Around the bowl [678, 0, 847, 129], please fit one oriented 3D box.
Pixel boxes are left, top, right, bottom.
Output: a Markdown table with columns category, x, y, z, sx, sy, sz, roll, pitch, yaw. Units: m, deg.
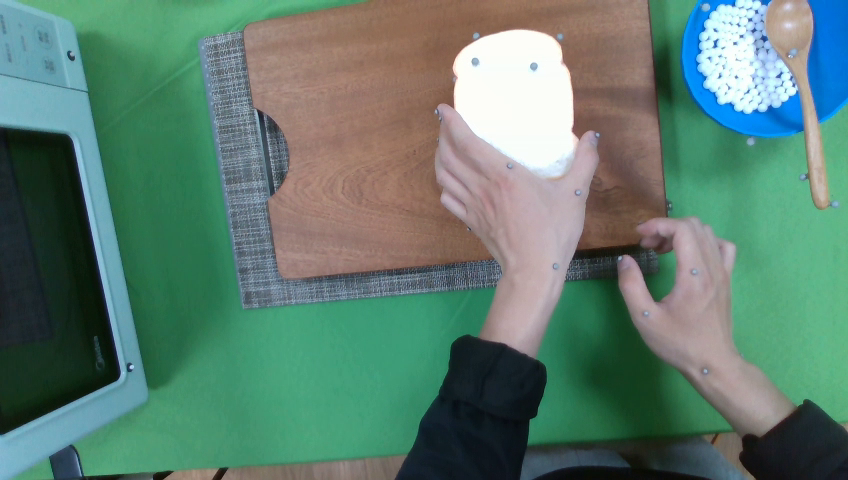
| category | x | y | z | sx | sy | sz | roll | pitch | yaw |
| --- | --- | --- | --- | --- | --- | --- | --- | --- | --- |
| bowl | 0.298 | -0.172 | 0.538 | 0.151 | 0.077 | 0.151 | 1 | 97 | 10 |

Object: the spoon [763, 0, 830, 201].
| category | x | y | z | sx | sy | sz | roll | pitch | yaw |
| --- | --- | --- | --- | --- | --- | --- | --- | --- | --- |
| spoon | 0.318 | -0.127 | 0.508 | 0.041 | 0.022 | 0.192 | -2 | 76 | 2 |

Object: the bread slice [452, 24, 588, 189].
| category | x | y | z | sx | sy | sz | roll | pitch | yaw |
| --- | --- | --- | --- | --- | --- | --- | --- | --- | --- |
| bread slice | 0.075 | -0.116 | 0.523 | 0.107 | 0.018 | 0.134 | -11 | 91 | 11 |

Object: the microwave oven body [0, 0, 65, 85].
| category | x | y | z | sx | sy | sz | roll | pitch | yaw |
| --- | --- | --- | --- | --- | --- | --- | --- | --- | --- |
| microwave oven body | -0.526 | 0.002 | 0.600 | 0.325 | 0.260 | 0.442 | -9 | 96 | 10 |

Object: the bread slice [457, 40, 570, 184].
| category | x | y | z | sx | sy | sz | roll | pitch | yaw |
| --- | --- | --- | --- | --- | --- | --- | --- | --- | --- |
| bread slice | 0.081 | -0.123 | 0.582 | 0.105 | 0.019 | 0.132 | -7 | 97 | 9 |

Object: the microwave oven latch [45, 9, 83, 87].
| category | x | y | z | sx | sy | sz | roll | pitch | yaw |
| --- | --- | --- | --- | --- | --- | --- | --- | --- | --- |
| microwave oven latch | -0.395 | -0.204 | 0.652 | 0.030 | 0.029 | 0.079 | -8 | 96 | 10 |

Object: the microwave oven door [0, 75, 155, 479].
| category | x | y | z | sx | sy | sz | roll | pitch | yaw |
| --- | --- | --- | --- | --- | --- | --- | --- | --- | --- |
| microwave oven door | -0.377 | 0.022 | 0.573 | 0.039 | 0.244 | 0.356 | -9 | 95 | 11 |

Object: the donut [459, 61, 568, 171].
| category | x | y | z | sx | sy | sz | roll | pitch | yaw |
| --- | --- | --- | --- | --- | --- | --- | --- | --- | --- |
| donut | 0.081 | -0.112 | 0.553 | 0.099 | 0.048 | 0.099 | 1 | 98 | 9 |
